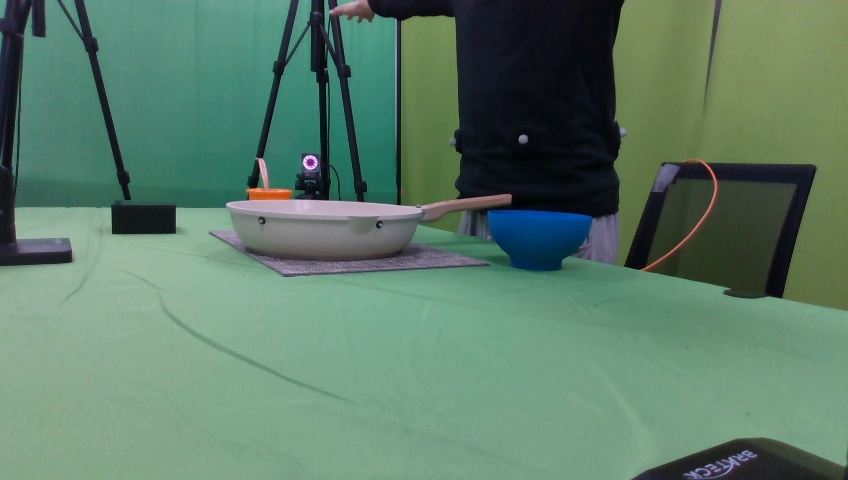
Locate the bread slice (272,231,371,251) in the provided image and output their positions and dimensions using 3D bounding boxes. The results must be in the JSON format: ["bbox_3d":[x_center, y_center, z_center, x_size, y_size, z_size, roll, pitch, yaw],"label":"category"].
[{"bbox_3d":[-0.148,0.001,0.929,0.133,0.018,0.107,5,8,38],"label":"bread slice"}]

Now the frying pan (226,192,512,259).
[{"bbox_3d":[-0.058,-0.041,0.975,0.490,0.102,0.305,-11,13,-26],"label":"frying pan"}]

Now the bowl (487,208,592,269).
[{"bbox_3d":[0.164,-0.003,0.875,0.151,0.077,0.151,2,7,0],"label":"bowl"}]

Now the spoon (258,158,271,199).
[{"bbox_3d":[-0.332,-0.107,1.269,0.042,0.021,0.193,0,53,-23],"label":"spoon"}]
